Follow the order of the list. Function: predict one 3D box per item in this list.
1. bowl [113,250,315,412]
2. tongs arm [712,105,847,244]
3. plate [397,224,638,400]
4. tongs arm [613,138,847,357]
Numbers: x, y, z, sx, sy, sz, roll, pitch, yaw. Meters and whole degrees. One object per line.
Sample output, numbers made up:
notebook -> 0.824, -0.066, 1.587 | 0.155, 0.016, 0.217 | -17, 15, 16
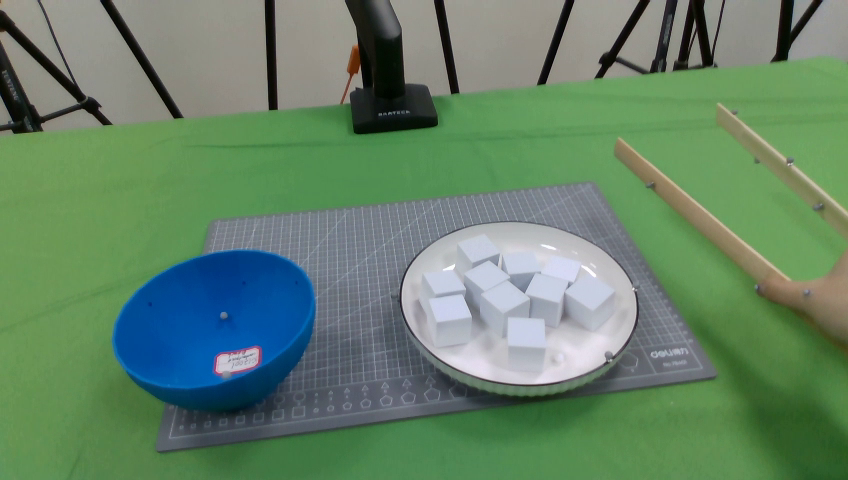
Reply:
bowl -> -0.158, 0.085, 0.489 | 0.151, 0.077, 0.150 | -1, 38, 1
tongs arm -> 0.346, -0.008, 0.523 | 0.051, 0.027, 0.380 | -16, 45, -6
plate -> 0.080, 0.061, 0.540 | 0.208, 0.039, 0.205 | -1, 38, 1
tongs arm -> 0.284, 0.014, 0.515 | 0.028, 0.028, 0.383 | -20, 45, -15
